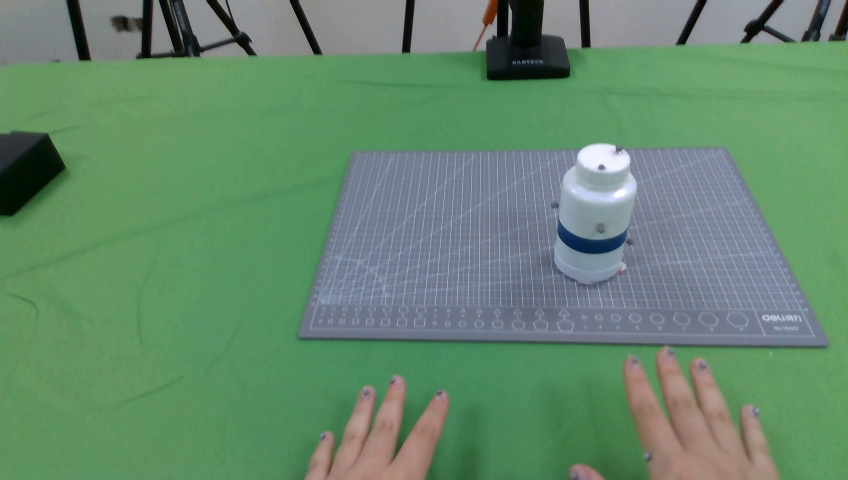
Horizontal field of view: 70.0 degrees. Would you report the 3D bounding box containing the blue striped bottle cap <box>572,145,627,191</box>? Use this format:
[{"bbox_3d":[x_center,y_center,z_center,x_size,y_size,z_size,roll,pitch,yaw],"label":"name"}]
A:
[{"bbox_3d":[0.149,-0.061,0.512,0.044,0.021,0.044,-1,42,1],"label":"blue striped bottle cap"}]

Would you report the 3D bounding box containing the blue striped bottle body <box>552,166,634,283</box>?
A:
[{"bbox_3d":[0.152,-0.024,0.546,0.063,0.122,0.062,-2,42,2],"label":"blue striped bottle body"}]
